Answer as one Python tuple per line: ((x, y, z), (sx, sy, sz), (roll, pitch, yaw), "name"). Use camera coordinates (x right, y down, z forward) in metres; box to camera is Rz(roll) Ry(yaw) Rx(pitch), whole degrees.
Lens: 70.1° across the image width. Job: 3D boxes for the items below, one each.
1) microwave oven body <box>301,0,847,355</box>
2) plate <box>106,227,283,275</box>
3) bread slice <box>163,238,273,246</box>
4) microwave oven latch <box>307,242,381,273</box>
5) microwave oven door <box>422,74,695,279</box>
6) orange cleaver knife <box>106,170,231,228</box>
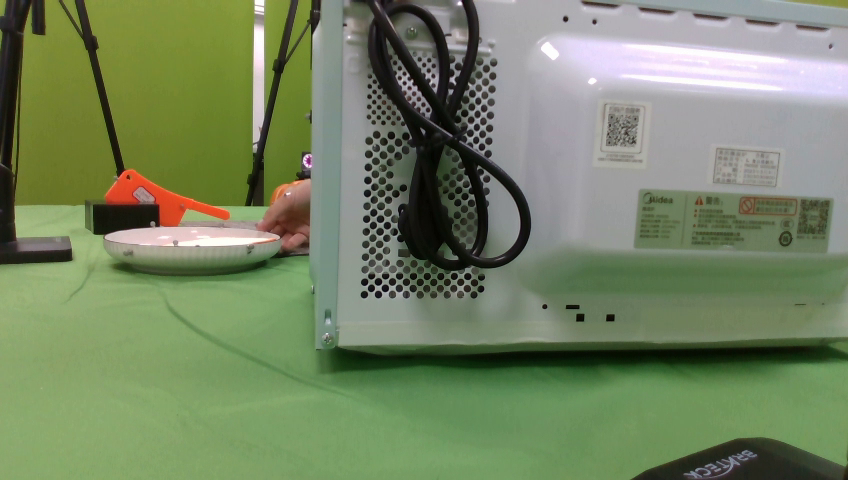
((0.120, -0.053, 0.535), (0.443, 0.260, 0.325), (2, 7, -11), "microwave oven body")
((-0.288, 0.013, 0.772), (0.208, 0.039, 0.207), (2, 7, 0), "plate")
((-0.268, 0.014, 0.759), (0.106, 0.018, 0.135), (2, 8, 21), "bread slice")
((-0.086, 0.019, 0.656), (0.079, 0.029, 0.030), (2, 7, -10), "microwave oven latch")
((0.159, -0.091, 0.806), (0.354, 0.243, 0.039), (7, 9, 31), "microwave oven door")
((-0.458, -0.060, 1.097), (0.212, 0.077, 0.012), (23, -4, -38), "orange cleaver knife")
